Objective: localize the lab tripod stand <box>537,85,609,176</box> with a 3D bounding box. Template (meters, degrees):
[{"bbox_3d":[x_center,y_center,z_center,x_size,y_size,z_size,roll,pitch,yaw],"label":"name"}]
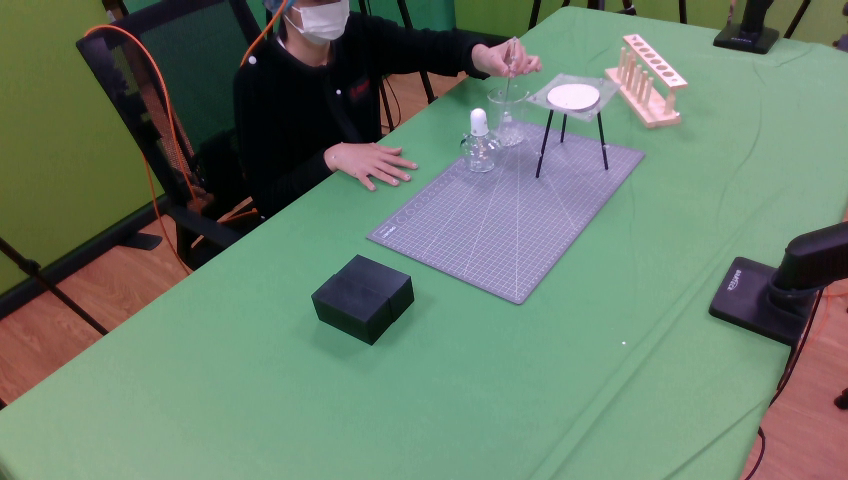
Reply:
[{"bbox_3d":[0.259,-0.192,1.068,0.148,0.132,0.147,-4,42,4],"label":"lab tripod stand"}]

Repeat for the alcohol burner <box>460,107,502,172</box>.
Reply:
[{"bbox_3d":[0.102,-0.185,1.098,0.078,0.119,0.077,-6,40,5],"label":"alcohol burner"}]

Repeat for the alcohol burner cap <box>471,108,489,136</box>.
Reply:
[{"bbox_3d":[0.098,-0.211,1.074,0.034,0.048,0.033,-6,42,6],"label":"alcohol burner cap"}]

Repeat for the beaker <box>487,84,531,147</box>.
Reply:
[{"bbox_3d":[0.163,-0.237,1.161,0.084,0.101,0.073,-10,41,-3],"label":"beaker"}]

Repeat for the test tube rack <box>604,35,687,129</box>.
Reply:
[{"bbox_3d":[0.447,-0.330,1.241,0.067,0.085,0.241,-9,41,-1],"label":"test tube rack"}]

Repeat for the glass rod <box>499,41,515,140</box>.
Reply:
[{"bbox_3d":[0.154,-0.272,1.120,0.008,0.200,0.008,2,41,-1],"label":"glass rod"}]

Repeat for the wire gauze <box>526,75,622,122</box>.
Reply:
[{"bbox_3d":[0.255,-0.248,1.030,0.124,0.011,0.122,24,51,32],"label":"wire gauze"}]
